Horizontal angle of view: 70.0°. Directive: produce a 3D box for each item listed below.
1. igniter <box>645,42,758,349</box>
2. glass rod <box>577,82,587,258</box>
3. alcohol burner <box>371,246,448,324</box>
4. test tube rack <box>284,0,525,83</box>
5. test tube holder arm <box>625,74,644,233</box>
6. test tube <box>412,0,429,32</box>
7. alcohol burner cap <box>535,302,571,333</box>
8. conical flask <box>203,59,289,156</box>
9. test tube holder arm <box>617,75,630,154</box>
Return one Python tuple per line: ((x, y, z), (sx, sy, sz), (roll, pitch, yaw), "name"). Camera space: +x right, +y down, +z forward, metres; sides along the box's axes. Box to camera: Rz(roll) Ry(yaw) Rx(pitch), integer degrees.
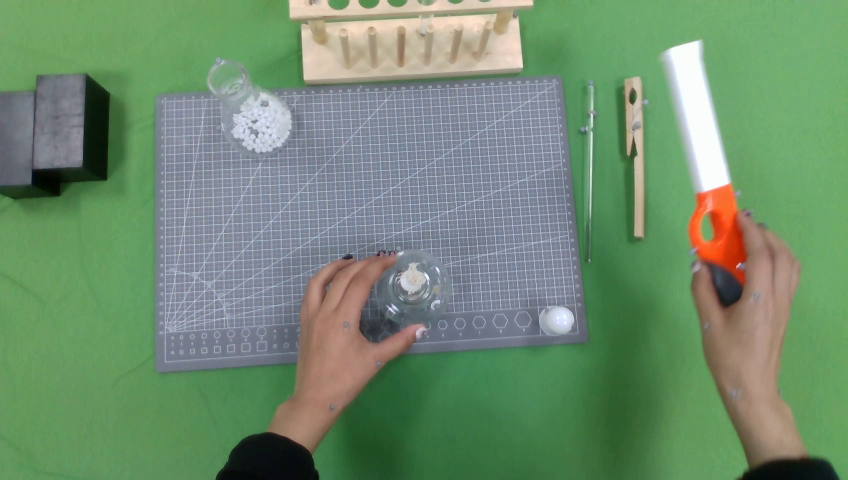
((0.249, -0.035, 0.539), (0.057, 0.025, 0.277), (-19, 96, -8), "igniter")
((0.175, -0.079, 0.669), (0.008, 0.008, 0.199), (3, 83, -2), "glass rod")
((-0.015, 0.042, 0.589), (0.078, 0.119, 0.077), (0, 80, 0), "alcohol burner")
((-0.019, -0.223, 0.646), (0.242, 0.085, 0.066), (-5, 81, -3), "test tube rack")
((0.231, -0.096, 0.668), (0.013, 0.015, 0.178), (-7, 81, 32), "test tube holder arm")
((-0.001, -0.251, 0.601), (0.017, 0.150, 0.017), (1, 78, -4), "test tube")
((0.135, 0.078, 0.625), (0.034, 0.048, 0.033), (0, 80, -1), "alcohol burner cap")
((-0.182, -0.136, 0.606), (0.075, 0.122, 0.075), (0, 81, -2), "conical flask")
((0.225, -0.140, 0.677), (0.010, 0.015, 0.087), (-6, 81, 32), "test tube holder arm")
